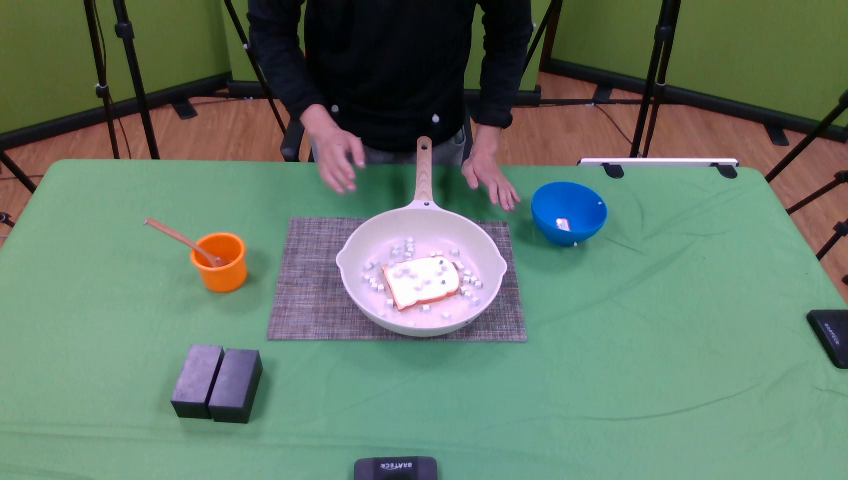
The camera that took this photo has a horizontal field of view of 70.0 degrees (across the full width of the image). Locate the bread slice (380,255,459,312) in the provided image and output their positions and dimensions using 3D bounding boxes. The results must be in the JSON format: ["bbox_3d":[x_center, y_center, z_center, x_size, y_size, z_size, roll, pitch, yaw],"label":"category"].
[{"bbox_3d":[-0.005,0.074,1.119,0.134,0.018,0.106,-16,50,-16],"label":"bread slice"}]

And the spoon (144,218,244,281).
[{"bbox_3d":[-0.401,0.015,1.064,0.195,0.021,0.041,41,36,-29],"label":"spoon"}]

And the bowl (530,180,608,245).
[{"bbox_3d":[0.284,-0.044,1.222,0.151,0.077,0.150,2,46,-2],"label":"bowl"}]

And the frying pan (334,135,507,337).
[{"bbox_3d":[-0.004,-0.026,1.160,0.307,0.103,0.485,4,55,-2],"label":"frying pan"}]
